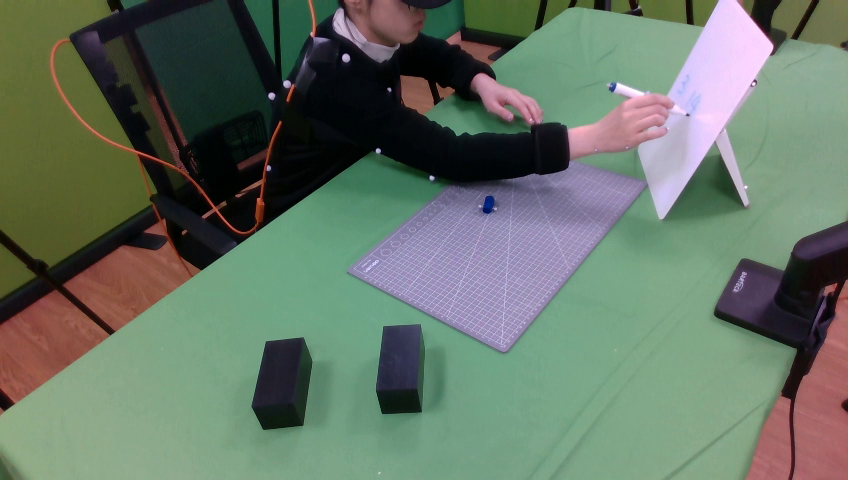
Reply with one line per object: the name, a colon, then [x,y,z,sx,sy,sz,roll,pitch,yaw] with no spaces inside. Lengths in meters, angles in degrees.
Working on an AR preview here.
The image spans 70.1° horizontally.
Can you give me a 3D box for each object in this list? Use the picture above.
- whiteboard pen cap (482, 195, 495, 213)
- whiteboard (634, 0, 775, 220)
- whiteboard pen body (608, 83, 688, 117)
whiteboard pen cap: [0.109,-0.060,1.028,0.018,0.018,0.033,6,45,15]
whiteboard: [0.485,-0.192,0.956,0.144,0.305,0.216,14,41,-5]
whiteboard pen body: [0.351,-0.215,0.941,0.141,0.017,0.017,17,40,-11]
